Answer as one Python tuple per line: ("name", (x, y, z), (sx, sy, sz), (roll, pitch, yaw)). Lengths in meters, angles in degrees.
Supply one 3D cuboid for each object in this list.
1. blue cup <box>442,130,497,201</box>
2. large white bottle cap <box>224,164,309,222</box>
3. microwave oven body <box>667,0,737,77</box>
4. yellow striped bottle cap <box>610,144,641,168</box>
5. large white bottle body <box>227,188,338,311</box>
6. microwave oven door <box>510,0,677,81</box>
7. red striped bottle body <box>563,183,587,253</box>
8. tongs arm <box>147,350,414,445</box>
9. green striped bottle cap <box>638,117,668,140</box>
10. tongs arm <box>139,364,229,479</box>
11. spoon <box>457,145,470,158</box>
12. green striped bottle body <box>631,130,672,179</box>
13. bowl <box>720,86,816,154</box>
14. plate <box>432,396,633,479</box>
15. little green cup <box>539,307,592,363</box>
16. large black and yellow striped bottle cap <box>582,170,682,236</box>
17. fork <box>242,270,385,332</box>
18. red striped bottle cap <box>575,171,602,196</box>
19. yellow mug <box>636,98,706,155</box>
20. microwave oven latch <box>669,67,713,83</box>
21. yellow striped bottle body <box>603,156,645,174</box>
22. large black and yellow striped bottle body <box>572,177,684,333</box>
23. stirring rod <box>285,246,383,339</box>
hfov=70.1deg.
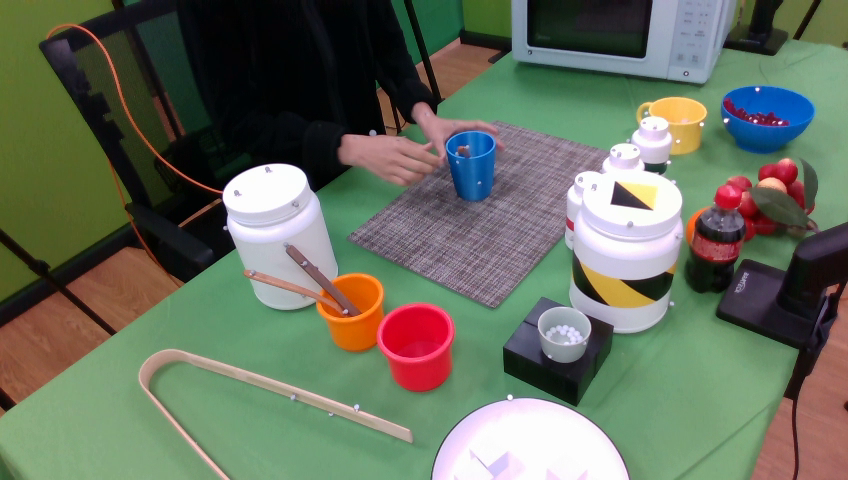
("blue cup", (0.084, -0.123, 1.041), (0.092, 0.100, 0.092), (-4, 43, 4))
("large white bottle cap", (-0.216, -0.066, 0.830), (0.115, 0.018, 0.114), (-4, 40, 4))
("microwave oven body", (0.462, -0.552, 1.369), (0.439, 0.261, 0.326), (15, 45, 26))
("yellow striped bottle cap", (0.307, -0.128, 0.923), (0.044, 0.019, 0.044), (-6, 40, 5))
("large white bottle body", (-0.207, -0.002, 0.884), (0.130, 0.185, 0.130), (-4, 40, 4))
("microwave oven door", (0.354, -0.478, 1.290), (0.353, 0.245, 0.039), (15, 45, 25))
("red striped bottle body", (0.246, -0.041, 0.910), (0.063, 0.120, 0.062), (-2, 38, 2))
("tongs arm", (-0.193, 0.200, 0.757), (0.382, 0.026, 0.051), (14, 49, 24))
("green striped bottle cap", (0.369, -0.180, 0.974), (0.044, 0.020, 0.044), (-4, 41, 4))
("tongs arm", (-0.241, 0.254, 0.707), (0.384, 0.028, 0.028), (27, 59, 34))
("spoon", (0.068, -0.135, 0.972), (0.041, 0.021, 0.194), (3, -2, 10))
("green striped bottle body", (0.375, -0.140, 1.007), (0.063, 0.120, 0.063), (-5, 40, 5))
("bowl", (0.605, -0.206, 1.081), (0.151, 0.077, 0.150), (-5, 40, 5))
("plate", (0.112, 0.261, 0.634), (0.209, 0.038, 0.208), (-5, 40, 4))
("little green cup", (0.168, 0.115, 0.721), (0.061, 0.039, 0.061), (-4, 42, 4))
("large black and yellow striped bottle cap", (0.252, -0.048, 0.735), (0.115, 0.019, 0.114), (-3, 40, 3))
("fork", (-0.142, 0.082, 0.802), (0.209, 0.018, 0.028), (28, 38, -26))
("red striped bottle cap", (0.242, -0.081, 0.876), (0.044, 0.018, 0.044), (-5, 44, 5))
("yellow mug", (0.453, -0.218, 1.128), (0.100, 0.064, 0.129), (-34, 46, -27))
("microwave oven latch", (0.556, -0.348, 1.261), (0.078, 0.029, 0.030), (16, 46, 27))
("yellow striped bottle body", (0.313, -0.089, 0.956), (0.063, 0.121, 0.062), (-4, 40, 4))
("large black and yellow striped bottle body", (0.262, 0.017, 0.788), (0.131, 0.185, 0.130), (-5, 40, 4))
("stirring rod", (-0.121, 0.071, 0.819), (0.176, 0.006, 0.014), (44, 52, -6))
